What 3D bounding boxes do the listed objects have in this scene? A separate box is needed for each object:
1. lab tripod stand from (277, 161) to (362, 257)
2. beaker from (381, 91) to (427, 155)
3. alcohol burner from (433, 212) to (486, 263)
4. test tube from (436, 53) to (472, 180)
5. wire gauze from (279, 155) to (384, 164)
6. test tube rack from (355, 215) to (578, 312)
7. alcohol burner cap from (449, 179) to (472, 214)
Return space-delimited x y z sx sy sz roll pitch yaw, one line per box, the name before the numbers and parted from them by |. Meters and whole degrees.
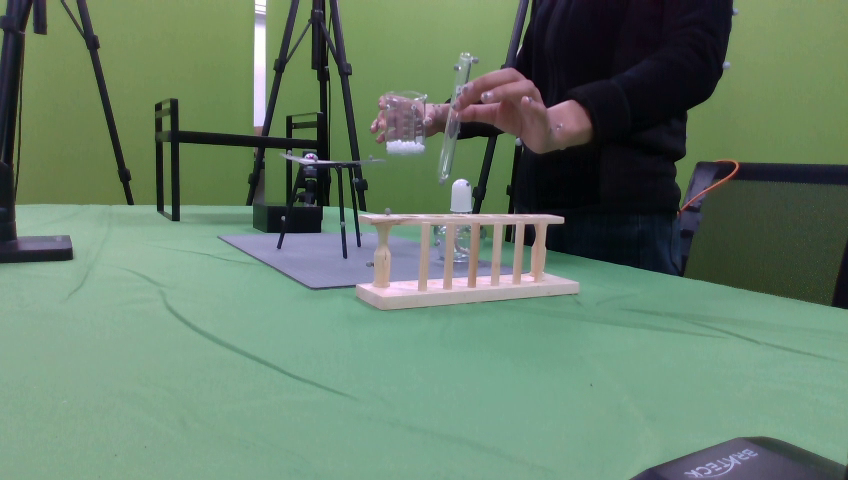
lab tripod stand | -0.143 -0.049 0.884 0.148 0.131 0.148 1 9 0
beaker | -0.030 -0.195 1.020 0.083 0.100 0.074 1 4 33
alcohol burner | 0.051 -0.028 0.862 0.078 0.119 0.078 1 7 0
test tube | 0.034 -0.141 0.686 0.017 0.150 0.017 11 -9 2
wire gauze | -0.134 -0.114 0.875 0.122 0.011 0.124 -1 8 -30
test tube rack | 0.053 0.018 0.641 0.243 0.085 0.066 -1 8 -29
alcohol burner cap | 0.052 -0.063 0.858 0.034 0.048 0.034 2 13 0
